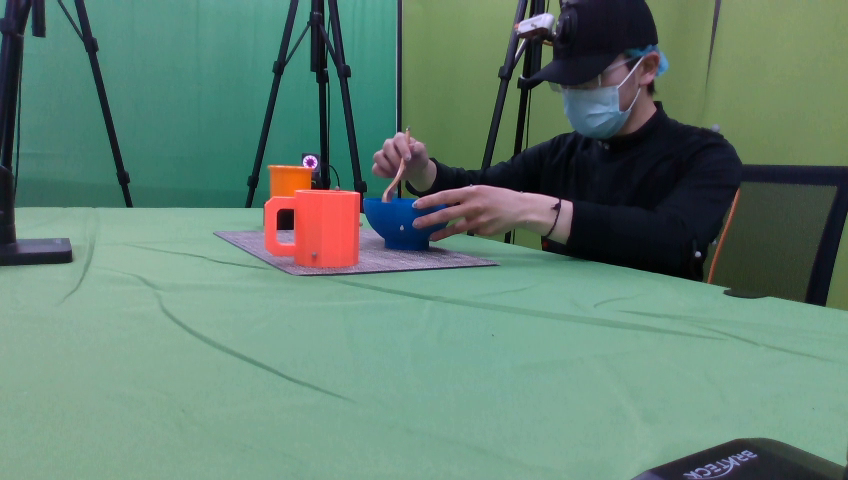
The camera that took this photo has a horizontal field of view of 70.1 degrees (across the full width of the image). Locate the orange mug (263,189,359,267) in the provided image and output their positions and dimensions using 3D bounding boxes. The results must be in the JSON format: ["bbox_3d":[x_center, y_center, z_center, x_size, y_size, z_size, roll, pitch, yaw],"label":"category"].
[{"bbox_3d":[-0.147,-0.019,0.794,0.127,0.100,0.083,5,6,-19],"label":"orange mug"}]

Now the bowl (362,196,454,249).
[{"bbox_3d":[-0.027,-0.029,0.989,0.151,0.077,0.151,2,7,0],"label":"bowl"}]

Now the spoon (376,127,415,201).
[{"bbox_3d":[-0.041,-0.116,1.016,0.042,0.193,0.021,32,-29,-25],"label":"spoon"}]
